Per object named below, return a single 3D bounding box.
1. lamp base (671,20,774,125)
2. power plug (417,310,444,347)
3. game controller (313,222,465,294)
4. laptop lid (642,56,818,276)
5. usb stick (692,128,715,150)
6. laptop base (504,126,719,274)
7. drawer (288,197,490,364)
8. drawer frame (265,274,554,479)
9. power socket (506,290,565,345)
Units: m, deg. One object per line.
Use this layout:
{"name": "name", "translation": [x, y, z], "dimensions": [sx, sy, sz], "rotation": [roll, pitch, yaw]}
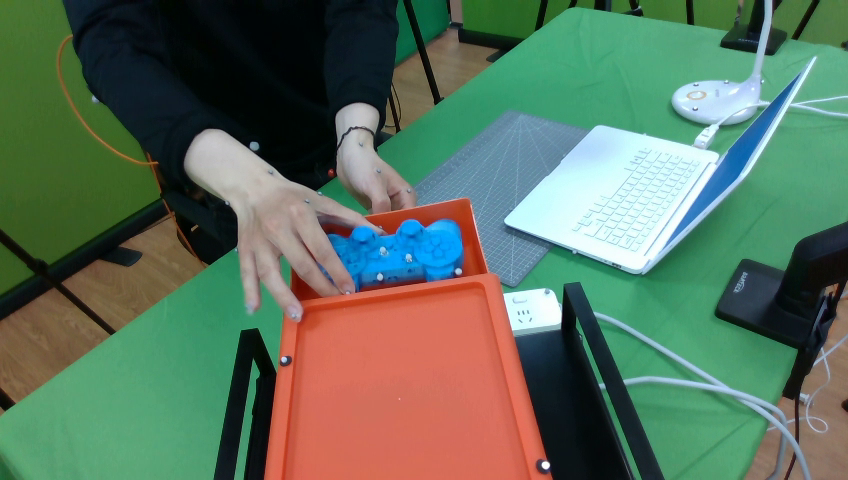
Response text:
{"name": "lamp base", "translation": [0.581, -0.332, 1.154], "dimensions": [0.179, 0.181, 0.160], "rotation": [2, 41, 7]}
{"name": "power plug", "translation": [0.007, 0.123, 0.784], "dimensions": [0.035, 0.053, 0.072], "rotation": [-2, 42, 8]}
{"name": "game controller", "translation": [-0.034, 0.015, 0.601], "dimensions": [0.155, 0.052, 0.096], "rotation": [-7, 48, -4]}
{"name": "laptop lid", "translation": [0.445, -0.108, 0.876], "dimensions": [0.013, 0.241, 0.357], "rotation": [39, 53, 12]}
{"name": "usb stick", "translation": [0.501, -0.176, 1.091], "dimensions": [0.021, 0.027, 0.059], "rotation": [29, 55, 29]}
{"name": "laptop base", "translation": [0.325, -0.084, 1.028], "dimensions": [0.233, 0.023, 0.355], "rotation": [21, 48, 32]}
{"name": "drawer", "translation": [-0.030, 0.061, 0.580], "dimensions": [0.195, 0.073, 0.210], "rotation": [-8, 42, -2]}
{"name": "drawer frame", "translation": [-0.016, 0.135, 0.492], "dimensions": [0.202, 0.083, 0.212], "rotation": [-8, 41, -2]}
{"name": "power socket", "translation": [0.081, 0.112, 0.822], "dimensions": [0.227, 0.033, 0.072], "rotation": [-6, 40, 0]}
